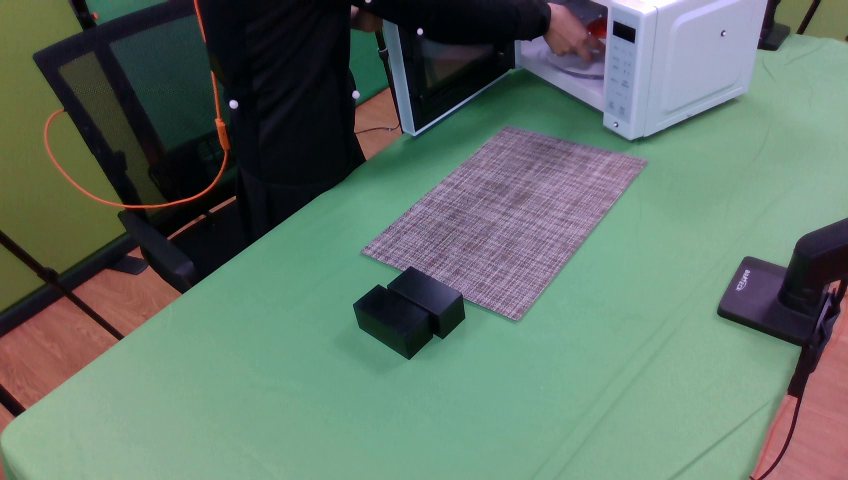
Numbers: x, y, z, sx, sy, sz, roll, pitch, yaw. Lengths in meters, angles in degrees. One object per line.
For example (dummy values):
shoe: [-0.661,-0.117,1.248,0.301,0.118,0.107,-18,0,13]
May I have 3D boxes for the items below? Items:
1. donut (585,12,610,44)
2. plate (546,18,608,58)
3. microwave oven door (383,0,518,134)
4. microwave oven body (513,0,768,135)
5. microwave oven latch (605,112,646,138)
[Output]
donut: [0.395,-0.445,1.297,0.099,0.048,0.098,-2,60,4]
plate: [0.362,-0.430,1.289,0.209,0.038,0.208,2,34,-1]
microwave oven door: [0.069,-0.407,1.253,0.039,0.245,0.357,27,52,35]
microwave oven body: [0.411,-0.441,1.235,0.327,0.261,0.437,-25,42,-16]
microwave oven latch: [0.375,-0.217,1.130,0.030,0.029,0.078,-24,42,-16]
